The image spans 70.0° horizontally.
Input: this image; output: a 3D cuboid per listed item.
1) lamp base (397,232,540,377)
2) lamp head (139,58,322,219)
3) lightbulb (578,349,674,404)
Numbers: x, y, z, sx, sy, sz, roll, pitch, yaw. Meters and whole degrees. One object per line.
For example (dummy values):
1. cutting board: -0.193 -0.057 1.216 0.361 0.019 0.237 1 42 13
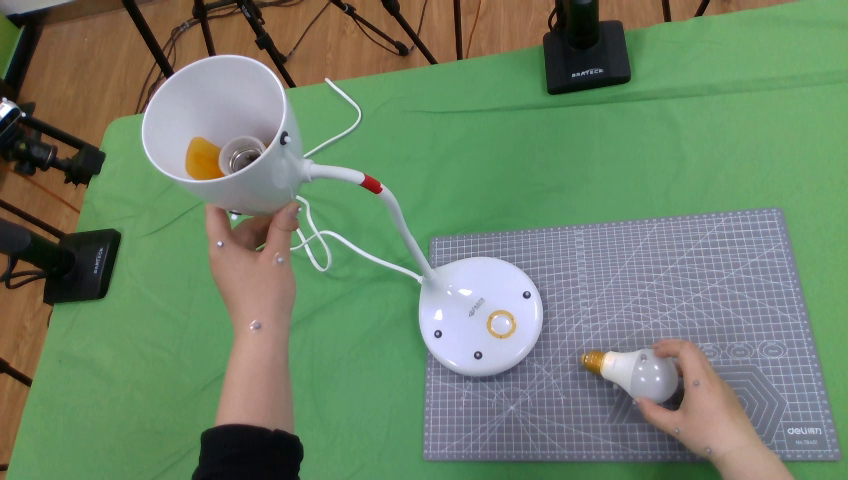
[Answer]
1. lamp base: 0.037 0.059 0.714 0.178 0.182 0.160 21 71 27
2. lamp head: -0.147 -0.069 0.498 0.112 0.124 0.111 -4 67 11
3. lightbulb: 0.227 0.149 0.687 0.107 0.060 0.059 9 67 36
